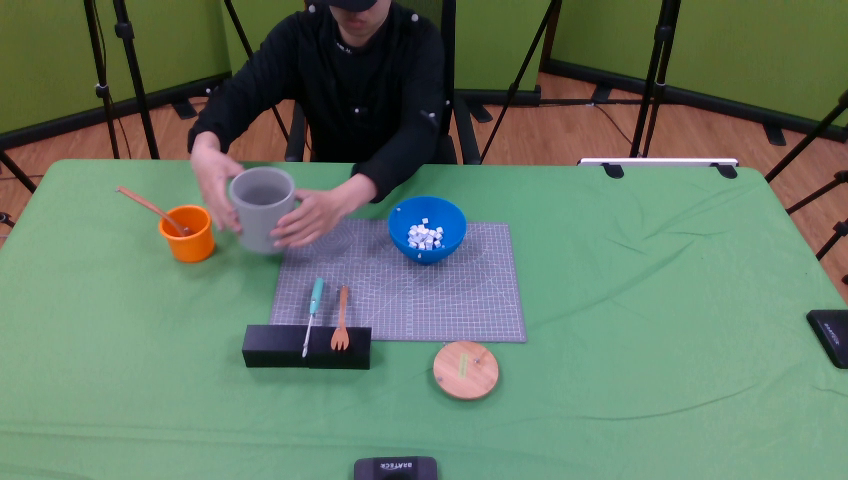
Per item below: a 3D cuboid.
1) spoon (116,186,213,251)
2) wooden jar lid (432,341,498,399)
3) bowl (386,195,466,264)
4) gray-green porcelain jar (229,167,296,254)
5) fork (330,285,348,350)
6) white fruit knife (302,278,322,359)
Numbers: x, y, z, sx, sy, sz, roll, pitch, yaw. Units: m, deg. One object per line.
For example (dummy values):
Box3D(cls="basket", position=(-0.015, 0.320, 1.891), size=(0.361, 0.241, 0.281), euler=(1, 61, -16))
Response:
Box3D(cls="spoon", position=(-0.474, -0.041, 1.112), size=(0.021, 0.195, 0.041), euler=(-31, 31, 29))
Box3D(cls="wooden jar lid", position=(0.067, 0.216, 0.997), size=(0.108, 0.021, 0.107), euler=(1, 46, -1))
Box3D(cls="bowl", position=(0.003, -0.007, 1.162), size=(0.151, 0.077, 0.150), euler=(2, 46, -2))
Box3D(cls="gray-green porcelain jar", position=(-0.281, -0.046, 1.066), size=(0.106, 0.127, 0.105), euler=(4, 45, -4))
Box3D(cls="fork", position=(-0.140, 0.127, 1.021), size=(0.028, 0.019, 0.206), euler=(-4, 28, -3))
Box3D(cls="white fruit knife", position=(-0.189, 0.126, 1.020), size=(0.016, 0.027, 0.206), euler=(0, 33, -2))
